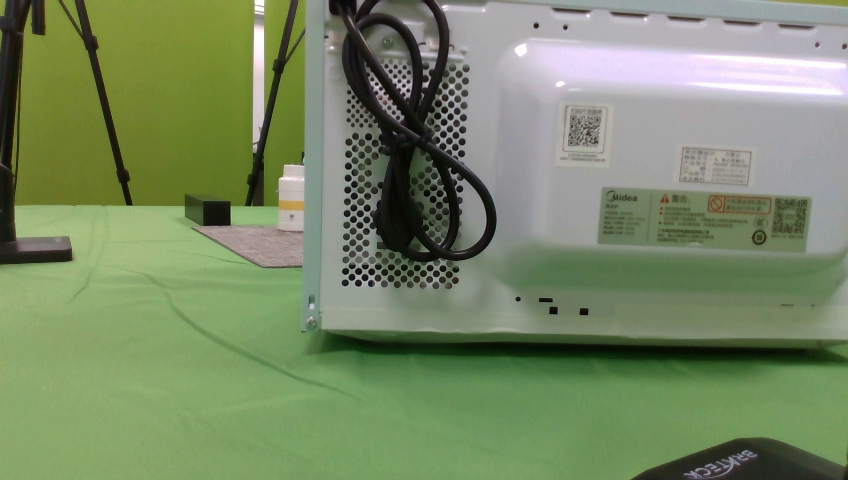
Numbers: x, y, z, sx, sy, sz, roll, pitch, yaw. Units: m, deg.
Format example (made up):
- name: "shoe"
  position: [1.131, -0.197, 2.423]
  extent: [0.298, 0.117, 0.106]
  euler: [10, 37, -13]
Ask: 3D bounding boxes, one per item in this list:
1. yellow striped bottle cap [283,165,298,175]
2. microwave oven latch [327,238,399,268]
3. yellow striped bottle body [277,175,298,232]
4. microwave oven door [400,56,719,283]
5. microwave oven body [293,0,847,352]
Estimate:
- name: "yellow striped bottle cap"
  position: [-0.240, -0.129, 1.124]
  extent: [0.044, 0.018, 0.044]
  euler: [5, 7, 0]
- name: "microwave oven latch"
  position: [-0.069, 0.015, 0.694]
  extent: [0.079, 0.029, 0.030]
  euler: [3, 7, -3]
- name: "yellow striped bottle body"
  position: [-0.242, -0.078, 1.130]
  extent: [0.063, 0.120, 0.063]
  euler: [2, 8, 0]
- name: "microwave oven door"
  position: [0.155, -0.078, 0.698]
  extent: [0.356, 0.243, 0.039]
  euler: [2, 8, -5]
- name: "microwave oven body"
  position: [0.122, -0.055, 0.551]
  extent: [0.442, 0.260, 0.325]
  euler: [3, 7, -5]
